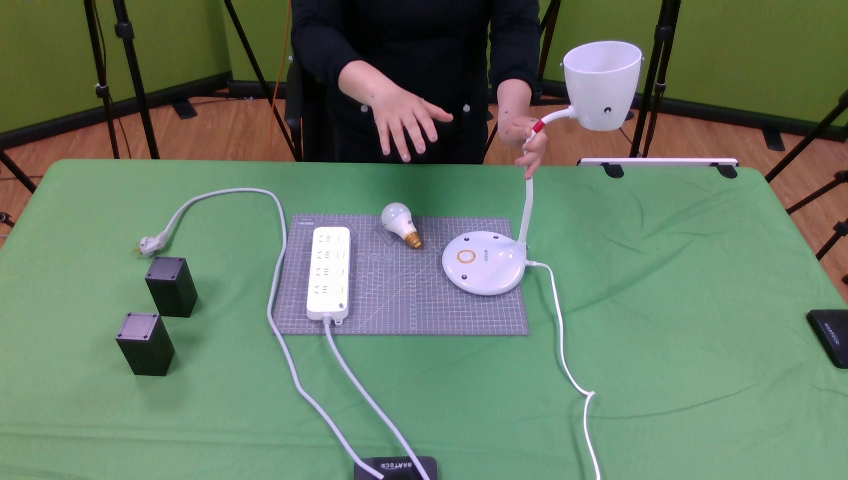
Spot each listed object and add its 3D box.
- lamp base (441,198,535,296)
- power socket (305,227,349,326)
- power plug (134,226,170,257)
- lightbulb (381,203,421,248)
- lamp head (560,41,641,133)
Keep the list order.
[{"bbox_3d":[0.130,-0.012,1.105,0.179,0.181,0.159,-1,46,-9],"label":"lamp base"},{"bbox_3d":[-0.177,0.059,1.115,0.072,0.033,0.225,-1,46,-4],"label":"power socket"},{"bbox_3d":[-0.515,0.006,1.152,0.052,0.035,0.072,-6,24,6],"label":"power plug"},{"bbox_3d":[-0.042,-0.026,1.197,0.059,0.060,0.107,-29,68,-28],"label":"lightbulb"},{"bbox_3d":[0.266,-0.226,0.926,0.112,0.123,0.111,-4,38,3],"label":"lamp head"}]
